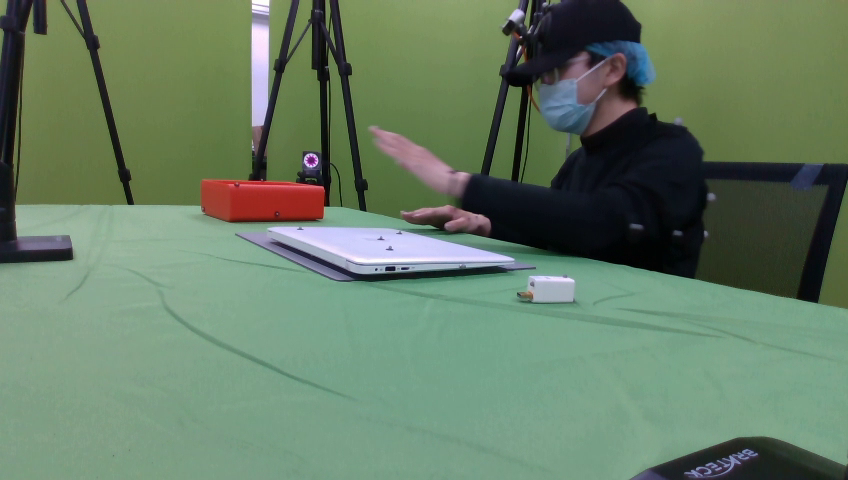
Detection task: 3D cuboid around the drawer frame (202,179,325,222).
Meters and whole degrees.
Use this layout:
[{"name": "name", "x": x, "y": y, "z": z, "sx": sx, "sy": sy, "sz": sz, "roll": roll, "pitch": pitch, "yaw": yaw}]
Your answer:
[{"name": "drawer frame", "x": -0.361, "y": -0.092, "z": 1.356, "sx": 0.215, "sy": 0.082, "sz": 0.200, "roll": -4, "pitch": 10, "yaw": -37}]

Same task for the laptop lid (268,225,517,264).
[{"name": "laptop lid", "x": -0.063, "y": 0.002, "z": 0.877, "sx": 0.243, "sy": 0.013, "sz": 0.355, "roll": 1, "pitch": 7, "yaw": -30}]

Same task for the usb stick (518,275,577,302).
[{"name": "usb stick", "x": 0.127, "y": 0.050, "z": 0.626, "sx": 0.059, "sy": 0.027, "sz": 0.021, "roll": -2, "pitch": 10, "yaw": -12}]

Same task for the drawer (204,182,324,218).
[{"name": "drawer", "x": -0.360, "y": -0.092, "z": 1.358, "sx": 0.213, "sy": 0.073, "sz": 0.193, "roll": -3, "pitch": 10, "yaw": -36}]

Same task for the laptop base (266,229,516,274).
[{"name": "laptop base", "x": -0.065, "y": 0.014, "z": 0.877, "sx": 0.237, "sy": 0.023, "sz": 0.352, "roll": 2, "pitch": 6, "yaw": -32}]
